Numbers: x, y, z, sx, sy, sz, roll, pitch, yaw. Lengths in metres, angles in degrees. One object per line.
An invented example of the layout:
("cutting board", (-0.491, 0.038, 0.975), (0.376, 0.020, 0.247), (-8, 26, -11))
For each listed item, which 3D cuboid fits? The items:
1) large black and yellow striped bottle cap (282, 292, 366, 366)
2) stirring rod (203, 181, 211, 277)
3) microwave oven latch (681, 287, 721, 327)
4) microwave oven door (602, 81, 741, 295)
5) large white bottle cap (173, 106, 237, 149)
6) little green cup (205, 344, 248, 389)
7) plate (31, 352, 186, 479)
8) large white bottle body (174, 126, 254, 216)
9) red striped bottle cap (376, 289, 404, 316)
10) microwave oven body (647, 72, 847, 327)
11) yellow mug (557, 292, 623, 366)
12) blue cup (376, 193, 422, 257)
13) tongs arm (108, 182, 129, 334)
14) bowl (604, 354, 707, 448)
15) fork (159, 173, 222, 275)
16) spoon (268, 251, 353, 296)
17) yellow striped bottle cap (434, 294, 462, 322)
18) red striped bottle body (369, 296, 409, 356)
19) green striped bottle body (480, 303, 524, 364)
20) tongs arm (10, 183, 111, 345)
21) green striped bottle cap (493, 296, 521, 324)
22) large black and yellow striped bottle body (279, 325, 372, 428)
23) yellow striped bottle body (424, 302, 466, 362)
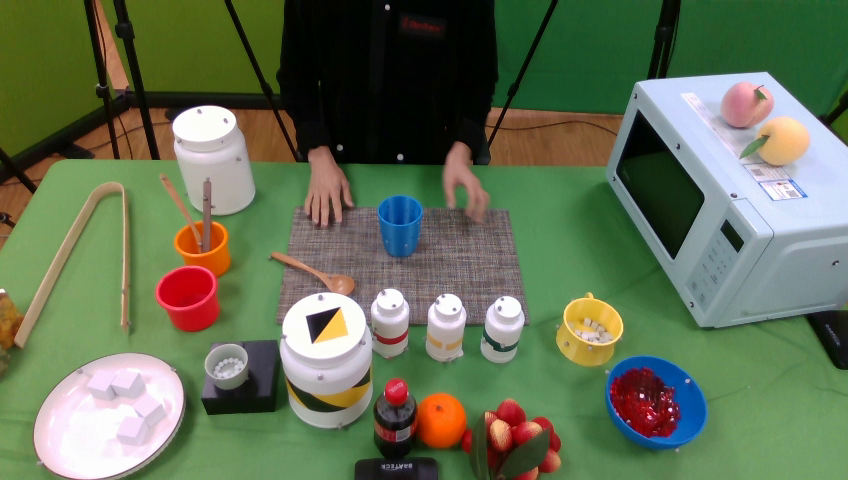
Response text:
("large black and yellow striped bottle cap", (-0.138, 0.121, 0.841), (0.115, 0.019, 0.114), (3, 47, -3))
("stirring rod", (-0.396, -0.021, 1.108), (0.014, 0.006, 0.176), (-1, 89, -2))
("microwave oven latch", (0.494, 0.119, 1.087), (0.030, 0.029, 0.078), (-5, 46, -9))
("microwave oven door", (0.456, -0.107, 1.162), (0.039, 0.245, 0.353), (-7, 47, -11))
("large white bottle cap", (-0.411, -0.212, 1.138), (0.115, 0.018, 0.114), (2, 47, -2))
("little green cup", (-0.294, 0.191, 0.909), (0.061, 0.039, 0.061), (1, 47, -1))
("plate", (-0.459, 0.262, 0.898), (0.209, 0.038, 0.208), (2, 46, -2))
("large white bottle body", (-0.415, -0.154, 1.199), (0.131, 0.185, 0.130), (2, 46, -2))
("red striped bottle cap", (-0.054, 0.098, 0.958), (0.044, 0.018, 0.044), (-1, 48, 1))
("microwave oven body", (0.607, -0.089, 1.164), (0.326, 0.261, 0.438), (-7, 46, -10))
("yellow mug", (0.285, 0.145, 1.051), (0.100, 0.064, 0.130), (7, 46, 4))
("blue cup", (-0.048, -0.022, 1.155), (0.093, 0.101, 0.092), (1, 47, -1))
("tongs arm", (-0.571, 0.019, 1.123), (0.051, 0.026, 0.382), (-11, 47, -11))
("bowl", (0.346, 0.261, 0.937), (0.151, 0.077, 0.150), (2, 46, -2))
("fork", (-0.427, -0.029, 1.103), (0.028, 0.018, 0.207), (-31, 99, -29))
("spoon", (-0.212, 0.057, 1.121), (0.193, 0.022, 0.041), (24, 74, 18))
("yellow striped bottle cap", (0.038, 0.107, 0.958), (0.044, 0.019, 0.044), (2, 45, -2))
("red striped bottle body", (-0.059, 0.134, 0.997), (0.063, 0.120, 0.062), (5, 48, -5))
("green striped bottle body", (0.129, 0.147, 1.000), (0.063, 0.120, 0.063), (2, 46, -2))
("tongs arm", (-0.658, 0.027, 1.109), (0.028, 0.028, 0.385), (-2, 45, 2))
("green striped bottle cap", (0.133, 0.111, 0.962), (0.044, 0.020, 0.044), (2, 47, -2))
("large black and yellow striped bottle body", (-0.143, 0.181, 0.900), (0.131, 0.185, 0.130), (2, 46, -2))
("yellow striped bottle body", (0.035, 0.143, 0.995), (0.063, 0.121, 0.062), (3, 46, -3))
